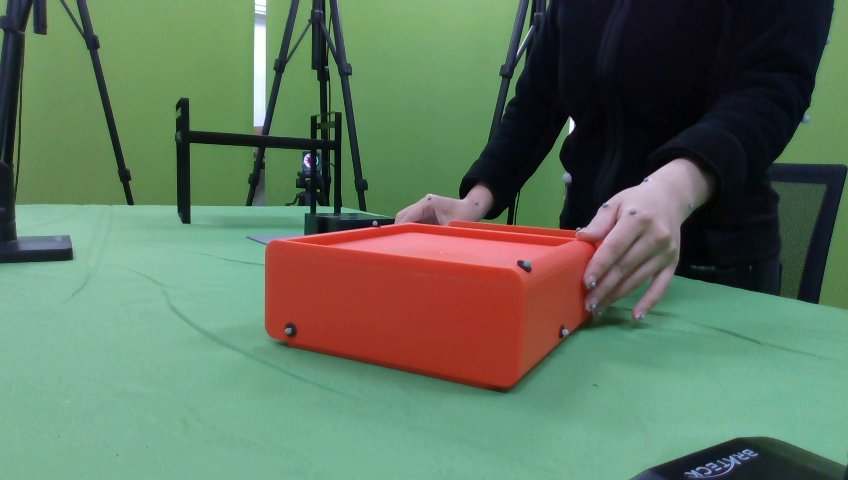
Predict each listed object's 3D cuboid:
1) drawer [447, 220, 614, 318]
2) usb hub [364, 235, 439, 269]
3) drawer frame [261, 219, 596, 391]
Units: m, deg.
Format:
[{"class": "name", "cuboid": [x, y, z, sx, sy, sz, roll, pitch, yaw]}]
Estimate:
[{"class": "drawer", "cuboid": [0.061, 0.030, 0.579, 0.194, 0.073, 0.212, 7, 10, 28]}, {"class": "usb hub", "cuboid": [-0.028, 0.014, 0.827, 0.049, 0.025, 0.125, 9, 11, 26]}, {"class": "drawer frame", "cuboid": [0.017, 0.036, 0.495, 0.201, 0.082, 0.214, 7, 9, 26]}]
